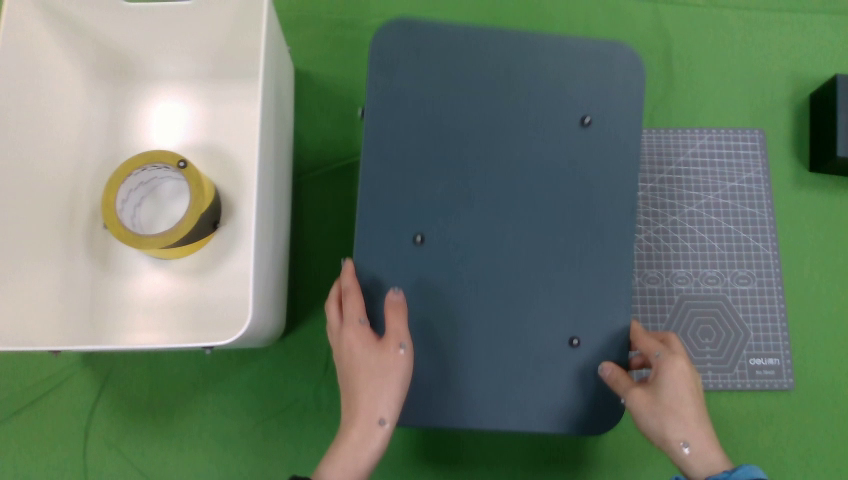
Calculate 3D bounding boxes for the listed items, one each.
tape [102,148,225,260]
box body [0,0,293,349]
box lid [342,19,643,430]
[{"bbox_3d":[-0.283,-0.038,0.662,0.117,0.053,0.116,-1,75,3],"label":"tape"},{"bbox_3d":[-0.273,-0.068,0.620,0.254,0.161,0.362,-1,77,0],"label":"box body"},{"bbox_3d":[0.067,-0.016,0.561,0.264,0.015,0.371,4,88,-5],"label":"box lid"}]
